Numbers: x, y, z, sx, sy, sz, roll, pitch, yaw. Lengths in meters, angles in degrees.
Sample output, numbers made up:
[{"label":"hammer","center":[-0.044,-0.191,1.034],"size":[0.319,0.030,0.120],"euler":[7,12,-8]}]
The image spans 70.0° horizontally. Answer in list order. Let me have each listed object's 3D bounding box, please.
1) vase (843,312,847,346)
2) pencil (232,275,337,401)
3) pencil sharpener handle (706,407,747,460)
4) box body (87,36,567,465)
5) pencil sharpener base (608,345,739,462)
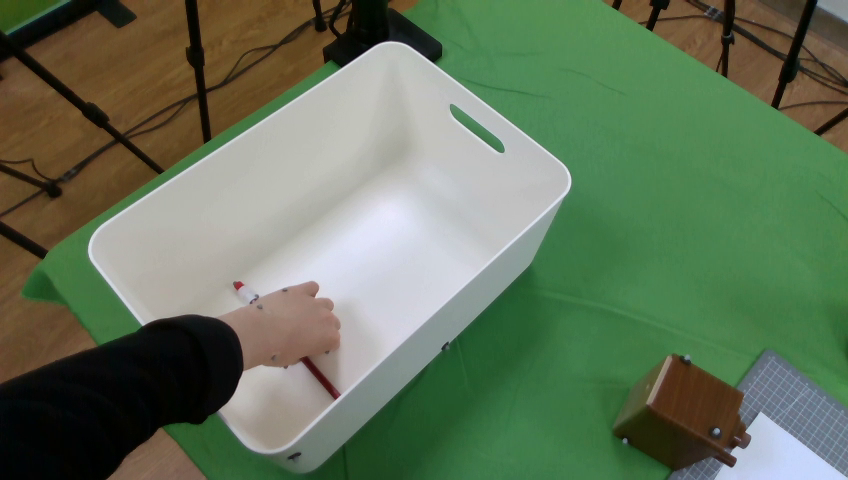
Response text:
[{"label":"vase","center":[0.493,0.063,0.567],"size":[0.098,0.201,0.097],"euler":[1,60,-1]},{"label":"pencil","center":[-0.139,0.104,0.619],"size":[0.012,0.012,0.192],"euler":[-37,70,-20]},{"label":"pencil sharpener handle","center":[0.271,0.174,0.536],"size":[0.030,0.068,0.036],"euler":[29,58,13]},{"label":"box body","center":[-0.076,0.006,0.596],"size":[0.252,0.161,0.363],"euler":[41,68,19]},{"label":"pencil sharpener base","center":[0.228,0.154,0.558],"size":[0.076,0.108,0.061],"euler":[29,64,13]}]
